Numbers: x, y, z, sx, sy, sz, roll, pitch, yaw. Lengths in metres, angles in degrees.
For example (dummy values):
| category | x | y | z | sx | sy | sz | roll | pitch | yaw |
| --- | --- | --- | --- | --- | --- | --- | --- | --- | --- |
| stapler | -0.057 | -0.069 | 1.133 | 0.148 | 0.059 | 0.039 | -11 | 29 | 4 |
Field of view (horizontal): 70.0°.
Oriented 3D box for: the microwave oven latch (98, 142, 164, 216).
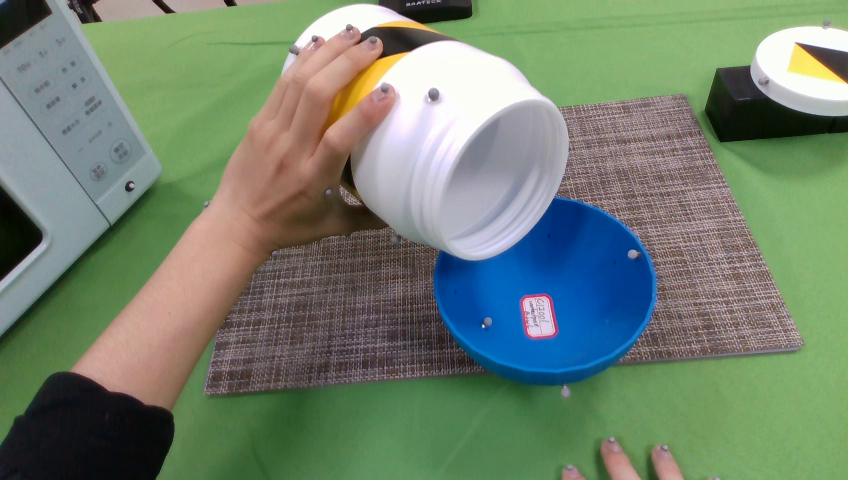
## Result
| category | x | y | z | sx | sy | sz | roll | pitch | yaw |
| --- | --- | --- | --- | --- | --- | --- | --- | --- | --- |
| microwave oven latch | -0.288 | -0.062 | 0.586 | 0.030 | 0.030 | 0.079 | 19 | 56 | 21 |

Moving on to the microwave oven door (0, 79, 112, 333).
| category | x | y | z | sx | sy | sz | roll | pitch | yaw |
| --- | --- | --- | --- | --- | --- | --- | --- | --- | --- |
| microwave oven door | -0.397 | 0.030 | 0.391 | 0.039 | 0.246 | 0.354 | 17 | 55 | 21 |

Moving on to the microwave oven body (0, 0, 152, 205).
| category | x | y | z | sx | sy | sz | roll | pitch | yaw |
| --- | --- | --- | --- | --- | --- | --- | --- | --- | --- |
| microwave oven body | -0.509 | -0.037 | 0.468 | 0.324 | 0.263 | 0.439 | 18 | 56 | 20 |

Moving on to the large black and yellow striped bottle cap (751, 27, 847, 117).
| category | x | y | z | sx | sy | sz | roll | pitch | yaw |
| --- | --- | --- | --- | --- | --- | --- | --- | --- | --- |
| large black and yellow striped bottle cap | 0.362 | -0.155 | 0.551 | 0.115 | 0.019 | 0.114 | -4 | 50 | 5 |

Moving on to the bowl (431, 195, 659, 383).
| category | x | y | z | sx | sy | sz | roll | pitch | yaw |
| --- | --- | --- | --- | --- | --- | --- | --- | --- | --- |
| bowl | 0.083 | 0.046 | 0.441 | 0.151 | 0.077 | 0.150 | -4 | 50 | 5 |

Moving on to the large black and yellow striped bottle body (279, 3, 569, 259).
| category | x | y | z | sx | sy | sz | roll | pitch | yaw |
| --- | --- | --- | --- | --- | --- | --- | --- | --- | --- |
| large black and yellow striped bottle body | -0.004 | -0.078 | 0.423 | 0.131 | 0.132 | 0.182 | -35 | 49 | -20 |
